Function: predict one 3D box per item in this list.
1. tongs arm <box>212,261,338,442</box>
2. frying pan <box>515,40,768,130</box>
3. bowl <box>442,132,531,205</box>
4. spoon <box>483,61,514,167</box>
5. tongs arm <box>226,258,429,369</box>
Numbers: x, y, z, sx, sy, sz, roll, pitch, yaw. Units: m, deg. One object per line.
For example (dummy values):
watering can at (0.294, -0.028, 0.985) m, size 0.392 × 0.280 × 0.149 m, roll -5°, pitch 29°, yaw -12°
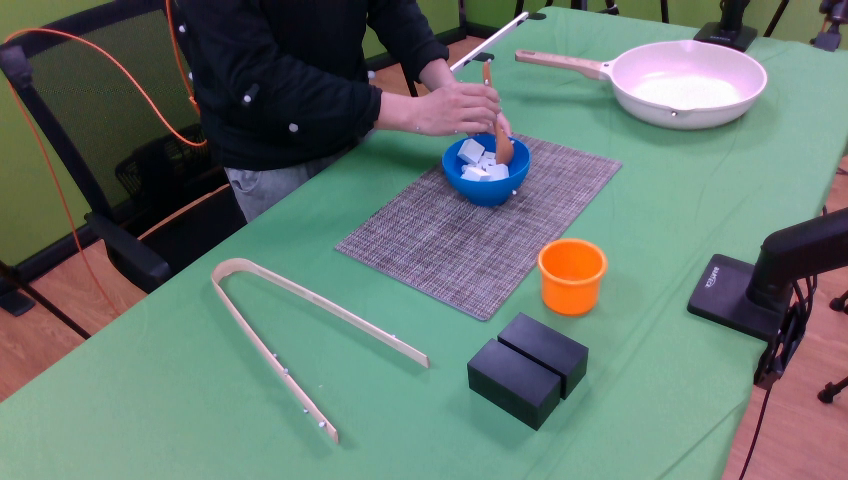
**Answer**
tongs arm at (-0.208, 0.136, 0.830) m, size 0.051 × 0.026 × 0.381 m, roll -31°, pitch 45°, yaw -28°
frying pan at (0.423, -0.338, 1.236) m, size 0.486 × 0.103 × 0.307 m, roll 16°, pitch 44°, yaw 13°
bowl at (0.108, -0.113, 1.033) m, size 0.151 × 0.077 × 0.150 m, roll -4°, pitch 40°, yaw 4°
spoon at (0.116, -0.199, 0.977) m, size 0.042 × 0.195 × 0.021 m, roll -35°, pitch 38°, yaw -18°
tongs arm at (-0.150, 0.098, 0.873) m, size 0.384 × 0.028 × 0.028 m, roll 22°, pitch 50°, yaw 30°
